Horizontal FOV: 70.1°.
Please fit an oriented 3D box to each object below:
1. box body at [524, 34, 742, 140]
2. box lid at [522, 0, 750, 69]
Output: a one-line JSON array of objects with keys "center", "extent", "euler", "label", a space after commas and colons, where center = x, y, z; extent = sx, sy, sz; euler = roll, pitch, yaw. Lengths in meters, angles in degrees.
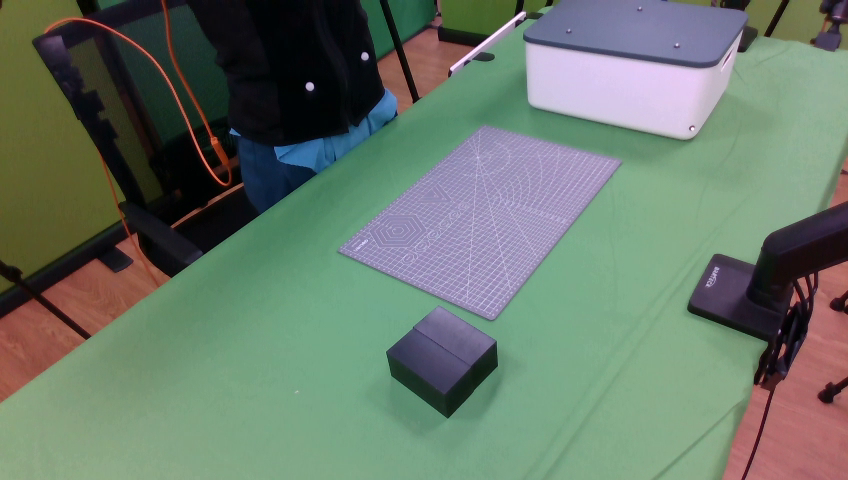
[{"center": [0.412, -0.354, 1.212], "extent": [0.361, 0.161, 0.254], "euler": [20, 48, 29], "label": "box body"}, {"center": [0.405, -0.409, 1.163], "extent": [0.369, 0.015, 0.264], "euler": [20, 47, 29], "label": "box lid"}]
